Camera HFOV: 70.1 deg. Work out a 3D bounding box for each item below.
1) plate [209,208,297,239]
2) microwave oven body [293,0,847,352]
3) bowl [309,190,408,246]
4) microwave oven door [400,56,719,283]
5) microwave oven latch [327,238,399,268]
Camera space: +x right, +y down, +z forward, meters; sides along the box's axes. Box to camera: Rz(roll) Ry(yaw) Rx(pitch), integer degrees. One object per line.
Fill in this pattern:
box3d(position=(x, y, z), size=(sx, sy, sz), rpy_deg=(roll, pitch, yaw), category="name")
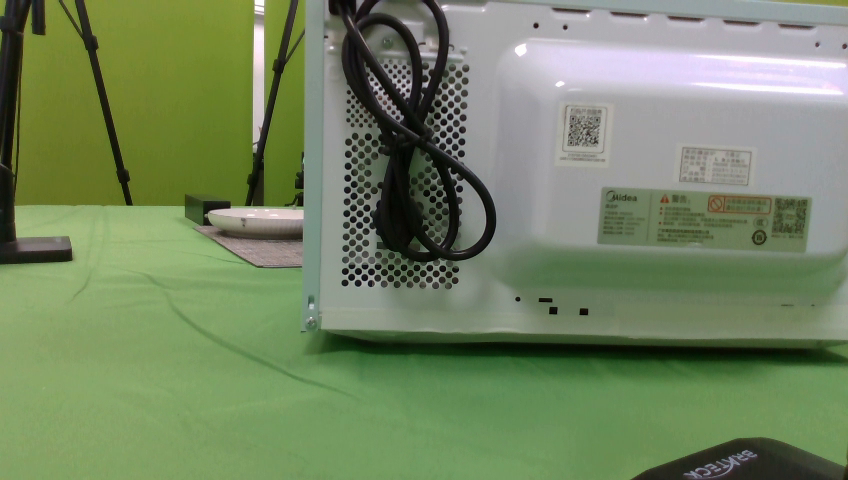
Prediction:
box3d(position=(-0.271, -0.029, 1.074), size=(0.208, 0.039, 0.207), rpy_deg=(3, 7, 0), category="plate")
box3d(position=(0.122, -0.055, 0.550), size=(0.442, 0.260, 0.325), rpy_deg=(3, 7, -5), category="microwave oven body")
box3d(position=(-0.098, -0.034, 0.930), size=(0.151, 0.077, 0.151), rpy_deg=(-1, 8, 0), category="bowl")
box3d(position=(0.155, -0.077, 0.698), size=(0.356, 0.243, 0.039), rpy_deg=(2, 8, -5), category="microwave oven door")
box3d(position=(-0.069, 0.015, 0.694), size=(0.079, 0.029, 0.030), rpy_deg=(3, 7, -3), category="microwave oven latch")
